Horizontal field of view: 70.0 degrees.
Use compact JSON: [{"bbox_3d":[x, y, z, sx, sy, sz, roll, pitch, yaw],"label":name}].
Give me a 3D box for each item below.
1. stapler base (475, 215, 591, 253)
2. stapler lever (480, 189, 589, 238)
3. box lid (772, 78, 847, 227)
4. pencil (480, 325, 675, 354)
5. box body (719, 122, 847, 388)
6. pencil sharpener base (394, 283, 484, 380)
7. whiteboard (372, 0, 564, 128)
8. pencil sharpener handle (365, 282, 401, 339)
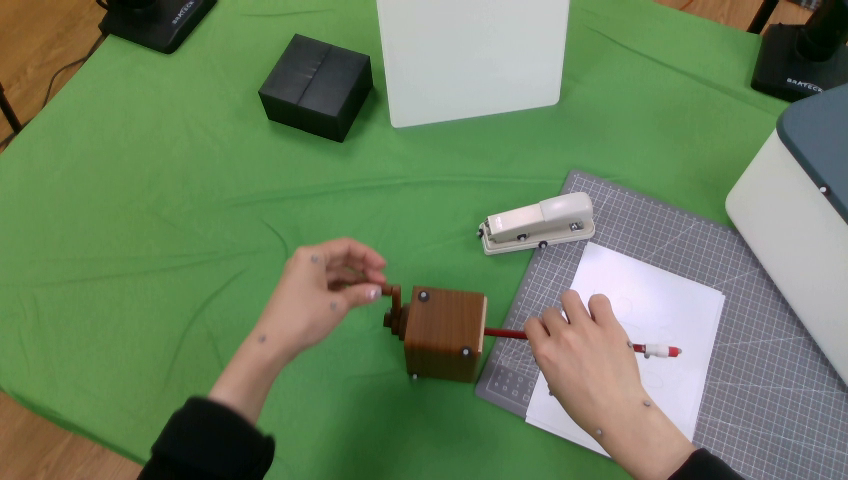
[{"bbox_3d":[0.124,-0.018,0.682,0.130,0.024,0.041,-10,60,-2],"label":"stapler base"},{"bbox_3d":[0.121,-0.029,0.660,0.118,0.040,0.026,-10,60,-2],"label":"stapler lever"},{"bbox_3d":[0.507,-0.015,0.526,0.263,0.015,0.368,-20,67,-11],"label":"box lid"},{"bbox_3d":[0.127,0.089,0.550,0.194,0.012,0.012,5,63,6],"label":"pencil"},{"bbox_3d":[0.507,0.019,0.591,0.254,0.161,0.361,-20,66,-11],"label":"box body"},{"bbox_3d":[0.013,0.090,0.583,0.076,0.108,0.061,6,64,3],"label":"pencil sharpener base"},{"bbox_3d":[0.041,-0.312,0.704,0.217,0.308,0.142,-9,45,-4],"label":"whiteboard"},{"bbox_3d":[-0.037,0.061,0.549,0.030,0.068,0.035,6,47,4],"label":"pencil sharpener handle"}]
